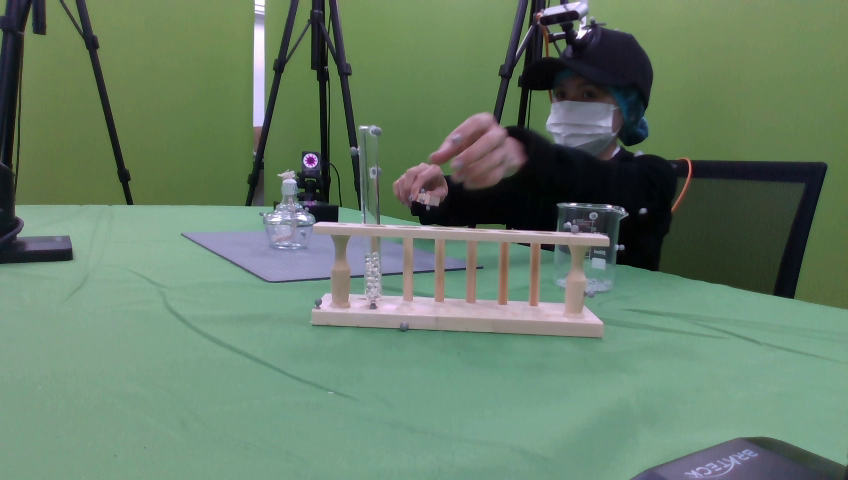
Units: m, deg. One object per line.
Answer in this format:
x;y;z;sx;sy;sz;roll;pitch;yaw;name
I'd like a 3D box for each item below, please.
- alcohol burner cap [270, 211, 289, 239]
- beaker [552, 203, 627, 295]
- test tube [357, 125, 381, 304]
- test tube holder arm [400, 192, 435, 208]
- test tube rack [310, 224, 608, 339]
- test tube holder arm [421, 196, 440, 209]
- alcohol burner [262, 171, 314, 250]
-0.246;-0.026;1.035;0.034;0.048;0.034;2;8;0;alcohol burner cap
0.191;0.010;0.708;0.083;0.100;0.074;8;9;33;beaker
-0.045;-0.019;0.501;0.017;0.150;0.017;-1;12;0;test tube
-0.012;-0.064;0.941;0.013;0.015;0.178;17;2;-18;test tube holder arm
0.028;0.032;0.528;0.242;0.085;0.067;3;7;0;test tube rack
0.006;-0.056;0.900;0.010;0.015;0.087;17;2;-18;test tube holder arm
-0.205;-0.045;0.913;0.078;0.119;0.078;1;9;0;alcohol burner
